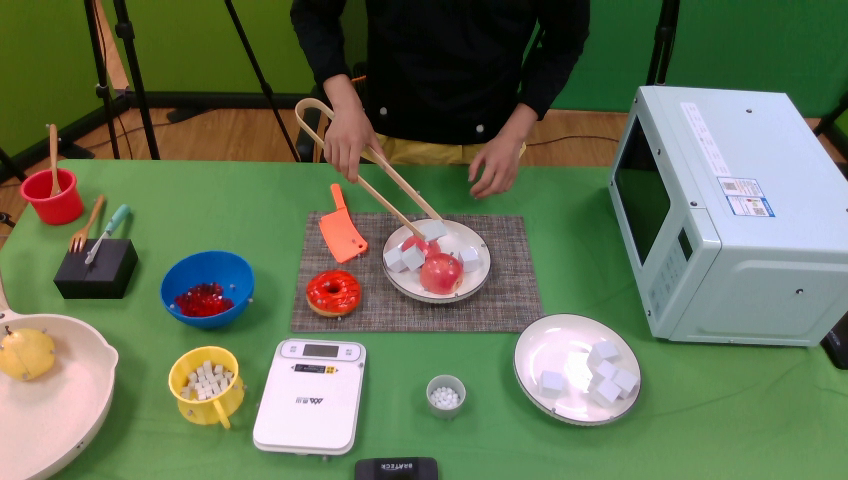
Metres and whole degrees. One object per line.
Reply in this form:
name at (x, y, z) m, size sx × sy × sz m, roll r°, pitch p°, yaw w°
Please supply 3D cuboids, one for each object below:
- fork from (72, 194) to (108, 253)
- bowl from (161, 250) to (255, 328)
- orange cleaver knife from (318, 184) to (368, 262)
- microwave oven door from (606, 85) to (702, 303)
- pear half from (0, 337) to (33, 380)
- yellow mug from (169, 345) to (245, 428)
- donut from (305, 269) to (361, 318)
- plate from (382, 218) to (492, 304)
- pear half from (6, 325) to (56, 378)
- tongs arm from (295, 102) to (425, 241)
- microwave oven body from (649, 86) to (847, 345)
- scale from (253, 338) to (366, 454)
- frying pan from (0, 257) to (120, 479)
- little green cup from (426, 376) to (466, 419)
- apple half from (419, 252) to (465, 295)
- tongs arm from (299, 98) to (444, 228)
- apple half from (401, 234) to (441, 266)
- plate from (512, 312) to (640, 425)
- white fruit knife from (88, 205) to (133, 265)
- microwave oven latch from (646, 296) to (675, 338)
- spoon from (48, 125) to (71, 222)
fork at (-0.634, -0.036, 1.158) m, size 0.028 × 0.019 × 0.206 m, roll -8°, pitch 32°, yaw -8°
bowl at (-0.362, 0.098, 1.039) m, size 0.151 × 0.077 × 0.150 m, roll 2°, pitch 45°, yaw -2°
orange cleaver knife at (-0.173, -0.037, 1.219) m, size 0.077 × 0.012 × 0.210 m, roll -16°, pitch 50°, yaw -12°
microwave oven door at (0.423, -0.094, 1.140) m, size 0.039 × 0.245 × 0.353 m, roll 2°, pitch 46°, yaw -1°
pear half at (-0.631, 0.184, 0.921) m, size 0.070 × 0.088 × 0.031 m, roll 29°, pitch 49°, yaw 19°
yellow mug at (-0.322, 0.230, 0.922) m, size 0.100 × 0.064 × 0.130 m, roll -24°, pitch 53°, yaw -25°
donut at (-0.160, 0.094, 1.075) m, size 0.099 × 0.048 × 0.098 m, roll 4°, pitch 45°, yaw -3°
plate at (0.023, 0.042, 1.143) m, size 0.209 × 0.038 × 0.208 m, roll 2°, pitch 46°, yaw -2°
pear half at (-0.608, 0.158, 0.935) m, size 0.076 × 0.110 × 0.056 m, roll 31°, pitch 51°, yaw 20°
tongs arm at (-0.128, -0.131, 1.143) m, size 0.028 × 0.028 × 0.386 m, roll -40°, pitch 71°, yaw -16°
microwave oven body at (0.567, -0.053, 1.118) m, size 0.326 × 0.261 × 0.439 m, roll 2°, pitch 45°, yaw -1°
scale at (-0.175, 0.236, 0.951) m, size 0.149 × 0.032 × 0.199 m, roll 4°, pitch 45°, yaw -1°
frying pan at (-0.647, 0.164, 0.936) m, size 0.307 × 0.103 × 0.485 m, roll -19°, pitch 58°, yaw -22°
little green cup at (0.033, 0.248, 0.950) m, size 0.061 × 0.039 × 0.061 m, roll 2°, pitch 46°, yaw -2°
apple half at (0.035, 0.055, 1.109) m, size 0.074 × 0.053 × 0.081 m, roll 37°, pitch 55°, yaw 24°
tongs arm at (-0.106, -0.149, 1.153) m, size 0.051 × 0.026 × 0.383 m, roll -36°, pitch 70°, yaw -18°
apple half at (-0.004, 0.014, 1.159) m, size 0.081 × 0.033 × 0.081 m, roll 5°, pitch 44°, yaw -5°
plate at (0.246, 0.213, 0.999) m, size 0.208 × 0.039 × 0.206 m, roll 2°, pitch 46°, yaw -2°
white fruit knife at (-0.584, -0.013, 1.129) m, size 0.016 × 0.027 × 0.206 m, roll 0°, pitch 32°, yaw -5°
microwave oven latch at (0.412, 0.134, 1.061) m, size 0.030 × 0.029 × 0.078 m, roll 4°, pitch 45°, yaw 1°
spoon at (-0.718, -0.131, 1.188) m, size 0.041 × 0.021 × 0.193 m, roll -3°, pitch 90°, yaw -7°
